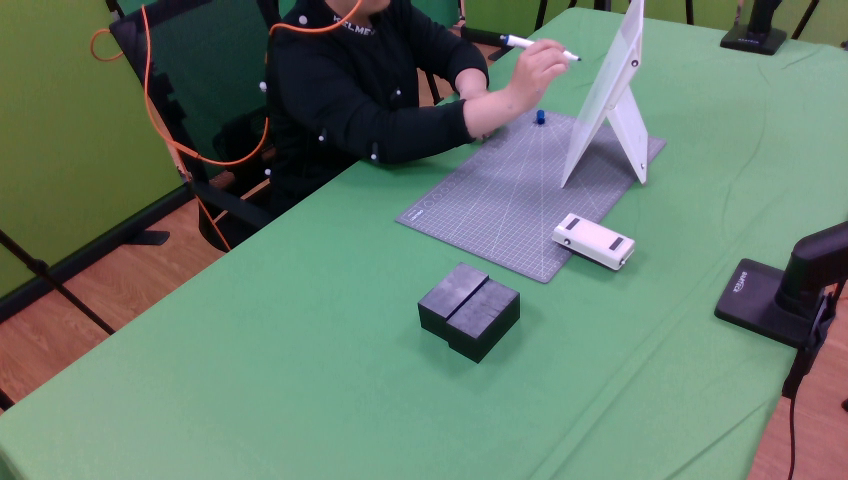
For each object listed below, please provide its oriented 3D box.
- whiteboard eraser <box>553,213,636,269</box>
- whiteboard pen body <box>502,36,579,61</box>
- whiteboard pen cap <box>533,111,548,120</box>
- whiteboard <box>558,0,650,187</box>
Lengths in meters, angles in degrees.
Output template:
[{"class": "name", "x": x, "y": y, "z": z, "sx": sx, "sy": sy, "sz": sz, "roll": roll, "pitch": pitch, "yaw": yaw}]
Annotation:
[{"class": "whiteboard eraser", "x": 0.258, "y": 0.003, "z": 0.918, "sx": 0.112, "sy": 0.042, "sz": 0.056, "roll": 27, "pitch": 49, "yaw": 30}, {"class": "whiteboard pen body", "x": 0.201, "y": -0.325, "z": 1.035, "sx": 0.141, "sy": 0.017, "sz": 0.017, "roll": 12, "pitch": 40, "yaw": -9}, {"class": "whiteboard pen cap", "x": 0.239, "y": -0.255, "z": 1.238, "sx": 0.018, "sy": 0.018, "sz": 0.033, "roll": -28, "pitch": 27, "yaw": -22}, {"class": "whiteboard", "x": 0.362, "y": -0.238, "z": 1.026, "sx": 0.144, "sy": 0.306, "sz": 0.217, "roll": 21, "pitch": 44, "yaw": 4}]
